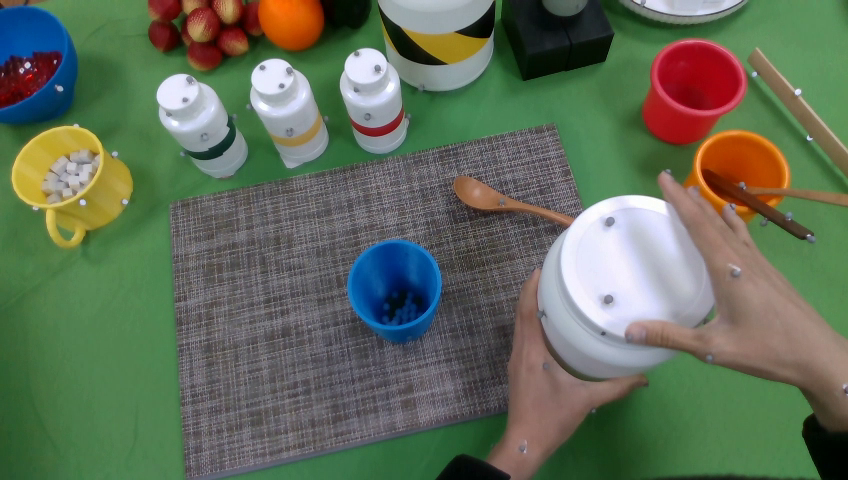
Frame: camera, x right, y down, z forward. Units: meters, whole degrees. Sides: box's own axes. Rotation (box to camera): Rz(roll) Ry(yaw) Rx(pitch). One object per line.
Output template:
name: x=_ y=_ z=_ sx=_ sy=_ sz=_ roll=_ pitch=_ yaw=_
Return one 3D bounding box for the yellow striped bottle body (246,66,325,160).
yellow striped bottle body: x=-0.151 y=-0.143 z=0.657 sx=0.063 sy=0.121 sz=0.062 roll=-1 pitch=68 yaw=4

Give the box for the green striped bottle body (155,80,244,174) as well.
green striped bottle body: x=-0.244 y=-0.126 z=0.655 sx=0.063 sy=0.120 sz=0.062 roll=-1 pitch=68 yaw=3

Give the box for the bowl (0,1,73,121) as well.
bowl: x=-0.479 y=-0.195 z=0.716 sx=0.151 sy=0.077 sz=0.150 roll=-1 pitch=69 yaw=2

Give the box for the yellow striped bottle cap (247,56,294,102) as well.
yellow striped bottle cap: x=-0.154 y=-0.162 z=0.609 sx=0.044 sy=0.019 sz=0.044 roll=-1 pitch=70 yaw=2

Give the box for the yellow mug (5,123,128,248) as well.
yellow mug: x=-0.391 y=-0.055 z=0.664 sx=0.100 sy=0.064 sz=0.130 roll=-3 pitch=69 yaw=1

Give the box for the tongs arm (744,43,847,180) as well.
tongs arm: x=0.477 y=-0.070 z=0.642 sx=0.051 sy=0.027 sz=0.382 roll=-24 pitch=70 yaw=-8

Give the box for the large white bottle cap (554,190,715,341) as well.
large white bottle cap: x=0.154 y=0.017 z=0.447 sx=0.115 sy=0.018 sz=0.114 roll=-1 pitch=68 yaw=2

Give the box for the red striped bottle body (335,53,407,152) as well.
red striped bottle body: x=-0.057 y=-0.152 z=0.656 sx=0.063 sy=0.120 sz=0.062 roll=-3 pitch=67 yaw=7

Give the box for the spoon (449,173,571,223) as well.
spoon: x=0.118 y=-0.032 z=0.649 sx=0.193 sy=0.022 sz=0.041 roll=18 pitch=46 yaw=9

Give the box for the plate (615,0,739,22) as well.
plate: x=0.310 y=-0.354 z=0.759 sx=0.209 sy=0.038 sz=0.207 roll=-1 pitch=69 yaw=2

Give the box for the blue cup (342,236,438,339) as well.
blue cup: x=-0.029 y=0.055 z=0.581 sx=0.092 sy=0.101 sz=0.092 roll=0 pitch=68 yaw=2

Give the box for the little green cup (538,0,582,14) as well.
little green cup: x=0.156 y=-0.290 z=0.688 sx=0.061 sy=0.039 sz=0.061 roll=-1 pitch=67 yaw=2

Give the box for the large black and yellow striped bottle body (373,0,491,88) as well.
large black and yellow striped bottle body: x=0.009 y=-0.271 z=0.664 sx=0.131 sy=0.185 sz=0.130 roll=-1 pitch=69 yaw=3

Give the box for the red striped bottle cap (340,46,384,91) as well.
red striped bottle cap: x=-0.062 y=-0.172 z=0.607 sx=0.044 sy=0.018 sz=0.044 roll=1 pitch=66 yaw=-1

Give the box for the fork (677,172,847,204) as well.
fork: x=0.338 y=-0.046 z=0.580 sx=0.028 sy=0.019 sz=0.205 roll=-50 pitch=30 yaw=-14

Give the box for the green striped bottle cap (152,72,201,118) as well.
green striped bottle cap: x=-0.248 y=-0.145 z=0.607 sx=0.044 sy=0.020 sz=0.044 roll=-1 pitch=68 yaw=2

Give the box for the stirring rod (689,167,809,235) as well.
stirring rod: x=0.307 y=-0.042 z=0.587 sx=0.014 sy=0.006 sz=0.174 roll=-10 pitch=26 yaw=-4

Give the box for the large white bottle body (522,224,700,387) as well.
large white bottle body: x=0.159 y=0.051 z=0.527 sx=0.130 sy=0.186 sz=0.129 roll=-1 pitch=68 yaw=3
